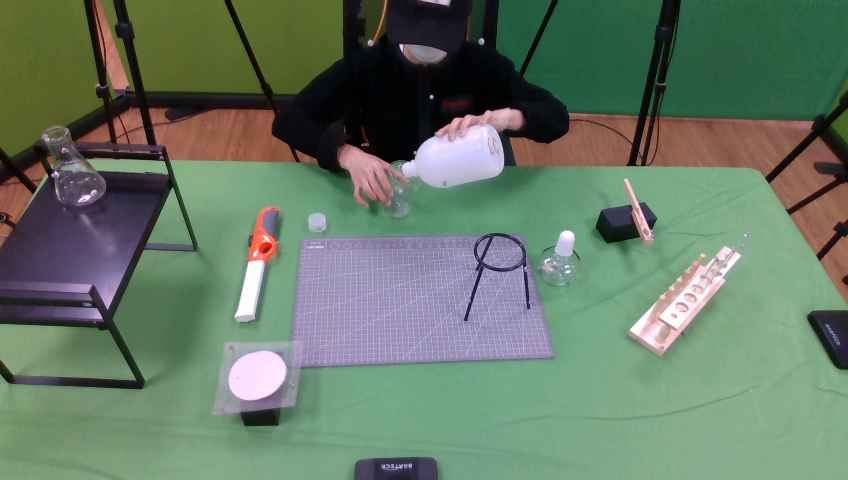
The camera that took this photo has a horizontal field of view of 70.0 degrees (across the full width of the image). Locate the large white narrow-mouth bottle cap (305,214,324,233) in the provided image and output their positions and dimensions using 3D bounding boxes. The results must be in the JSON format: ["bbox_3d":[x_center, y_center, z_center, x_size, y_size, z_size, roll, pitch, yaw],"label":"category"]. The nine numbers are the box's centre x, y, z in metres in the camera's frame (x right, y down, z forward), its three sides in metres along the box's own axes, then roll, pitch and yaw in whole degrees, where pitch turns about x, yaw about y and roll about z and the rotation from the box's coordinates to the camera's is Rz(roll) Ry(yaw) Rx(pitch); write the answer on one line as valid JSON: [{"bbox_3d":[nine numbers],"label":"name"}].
[{"bbox_3d":[-0.219,-0.033,1.214,0.038,0.024,0.037,2,46,-2],"label":"large white narrow-mouth bottle cap"}]

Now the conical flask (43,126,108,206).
[{"bbox_3d":[-0.555,-0.119,0.953,0.075,0.122,0.075,2,46,-2],"label":"conical flask"}]

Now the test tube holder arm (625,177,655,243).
[{"bbox_3d":[0.433,-0.063,1.220,0.013,0.015,0.177,1,47,-3],"label":"test tube holder arm"}]

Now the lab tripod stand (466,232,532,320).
[{"bbox_3d":[0.125,0.059,1.065,0.148,0.132,0.147,1,45,0],"label":"lab tripod stand"}]

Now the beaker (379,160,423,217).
[{"bbox_3d":[-0.045,-0.101,1.231,0.084,0.100,0.073,6,46,-19],"label":"beaker"}]

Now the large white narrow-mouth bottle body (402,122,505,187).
[{"bbox_3d":[0.048,-0.154,1.151,0.194,0.102,0.101,-11,40,26],"label":"large white narrow-mouth bottle body"}]

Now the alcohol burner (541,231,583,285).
[{"bbox_3d":[0.258,0.028,1.123,0.078,0.120,0.077,1,48,-1],"label":"alcohol burner"}]

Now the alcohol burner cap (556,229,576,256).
[{"bbox_3d":[0.260,0.002,1.098,0.034,0.048,0.033,3,40,-2],"label":"alcohol burner cap"}]

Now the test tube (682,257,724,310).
[{"bbox_3d":[0.475,0.080,1.037,0.017,0.151,0.017,2,51,-2],"label":"test tube"}]

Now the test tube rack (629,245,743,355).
[{"bbox_3d":[0.474,0.095,1.091,0.242,0.085,0.066,-34,56,-31],"label":"test tube rack"}]

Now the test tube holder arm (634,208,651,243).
[{"bbox_3d":[0.428,-0.030,1.189,0.010,0.015,0.087,2,47,-2],"label":"test tube holder arm"}]

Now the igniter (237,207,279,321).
[{"bbox_3d":[-0.309,0.036,1.136,0.057,0.025,0.274,-7,45,5],"label":"igniter"}]

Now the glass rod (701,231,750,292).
[{"bbox_3d":[0.519,0.045,1.050,0.008,0.201,0.008,0,55,0],"label":"glass rod"}]

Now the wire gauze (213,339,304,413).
[{"bbox_3d":[-0.250,0.203,0.924,0.121,0.011,0.124,-1,46,-3],"label":"wire gauze"}]
